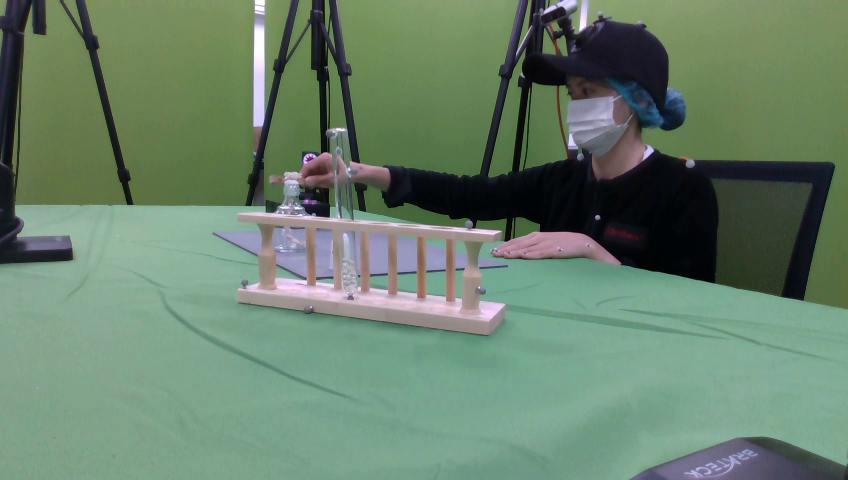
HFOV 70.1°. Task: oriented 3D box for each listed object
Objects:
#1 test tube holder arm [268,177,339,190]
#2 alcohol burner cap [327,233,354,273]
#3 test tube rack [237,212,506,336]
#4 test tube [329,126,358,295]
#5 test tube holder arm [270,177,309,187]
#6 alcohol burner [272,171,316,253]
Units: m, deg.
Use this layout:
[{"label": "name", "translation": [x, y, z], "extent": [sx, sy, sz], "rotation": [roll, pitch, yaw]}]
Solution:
[{"label": "test tube holder arm", "translation": [-0.236, -0.113, 1.210], "extent": [0.013, 0.015, 0.179], "rotation": [10, 6, 35]}, {"label": "alcohol burner cap", "translation": [-0.104, 0.016, 0.752], "extent": [0.034, 0.048, 0.034], "rotation": [3, 6, 0]}, {"label": "test tube rack", "translation": [-0.049, 0.024, 0.552], "extent": [0.242, 0.085, 0.067], "rotation": [5, 7, 19]}, {"label": "test tube", "translation": [-0.071, -0.025, 0.535], "extent": [0.017, 0.150, 0.017], "rotation": [-3, 8, 1]}, {"label": "test tube holder arm", "translation": [-0.259, -0.112, 1.170], "extent": [0.010, 0.015, 0.088], "rotation": [10, 6, 37]}, {"label": "alcohol burner", "translation": [-0.196, -0.041, 0.884], "extent": [0.078, 0.119, 0.078], "rotation": [3, 5, 0]}]
